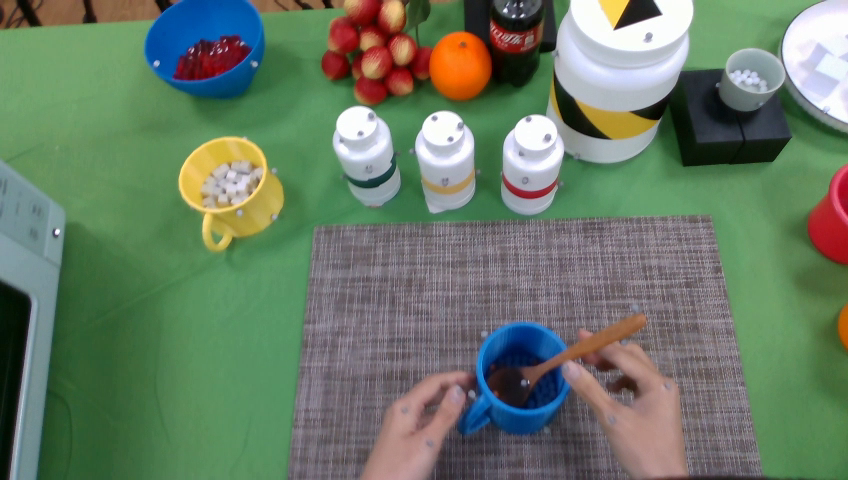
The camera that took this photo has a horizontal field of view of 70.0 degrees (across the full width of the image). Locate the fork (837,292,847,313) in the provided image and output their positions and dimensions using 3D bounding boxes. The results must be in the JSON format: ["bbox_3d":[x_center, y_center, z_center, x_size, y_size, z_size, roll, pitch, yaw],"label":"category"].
[{"bbox_3d":[0.469,0.085,0.529,0.028,0.019,0.205,-38,24,-11],"label":"fork"}]

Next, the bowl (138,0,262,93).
[{"bbox_3d":[-0.274,-0.244,0.781,0.151,0.077,0.150,-2,66,4],"label":"bowl"}]

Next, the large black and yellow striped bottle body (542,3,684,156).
[{"bbox_3d":[0.201,-0.191,0.658,0.131,0.185,0.129,-2,65,4],"label":"large black and yellow striped bottle body"}]

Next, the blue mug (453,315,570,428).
[{"bbox_3d":[0.074,0.135,0.561,0.116,0.107,0.081,-36,67,-11],"label":"blue mug"}]

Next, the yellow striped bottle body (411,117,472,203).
[{"bbox_3d":[0.020,-0.095,0.665,0.063,0.121,0.062,-2,65,5],"label":"yellow striped bottle body"}]

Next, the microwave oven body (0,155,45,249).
[{"bbox_3d":[-0.567,0.125,0.534,0.326,0.262,0.438,-10,66,0],"label":"microwave oven body"}]

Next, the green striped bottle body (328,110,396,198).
[{"bbox_3d":[-0.069,-0.101,0.676,0.063,0.120,0.062,-2,65,4],"label":"green striped bottle body"}]

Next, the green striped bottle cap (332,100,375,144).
[{"bbox_3d":[-0.074,-0.123,0.629,0.044,0.020,0.044,-2,64,4],"label":"green striped bottle cap"}]

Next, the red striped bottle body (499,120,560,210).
[{"bbox_3d":[0.112,-0.087,0.654,0.063,0.121,0.062,-3,64,7],"label":"red striped bottle body"}]

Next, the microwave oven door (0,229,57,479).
[{"bbox_3d":[-0.417,0.136,0.511,0.039,0.246,0.352,-10,65,1],"label":"microwave oven door"}]

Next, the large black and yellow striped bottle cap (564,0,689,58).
[{"bbox_3d":[0.193,-0.225,0.582,0.115,0.019,0.114,-2,64,5],"label":"large black and yellow striped bottle cap"}]

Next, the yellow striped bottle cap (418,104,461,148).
[{"bbox_3d":[0.016,-0.117,0.618,0.044,0.019,0.044,-1,67,4],"label":"yellow striped bottle cap"}]

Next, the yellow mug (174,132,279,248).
[{"bbox_3d":[-0.230,-0.053,0.697,0.100,0.064,0.130,8,67,8],"label":"yellow mug"}]

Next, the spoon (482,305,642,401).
[{"bbox_3d":[0.111,0.102,0.525,0.022,0.194,0.041,1,61,-34],"label":"spoon"}]

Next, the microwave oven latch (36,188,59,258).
[{"bbox_3d":[-0.440,-0.018,0.694,0.030,0.030,0.078,-8,66,1],"label":"microwave oven latch"}]

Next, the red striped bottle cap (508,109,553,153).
[{"bbox_3d":[0.107,-0.110,0.607,0.044,0.018,0.044,0,64,1],"label":"red striped bottle cap"}]

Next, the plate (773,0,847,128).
[{"bbox_3d":[0.521,-0.211,0.721,0.209,0.038,0.207,-2,66,4],"label":"plate"}]

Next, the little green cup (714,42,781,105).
[{"bbox_3d":[0.352,-0.181,0.665,0.061,0.039,0.061,-1,63,3],"label":"little green cup"}]
